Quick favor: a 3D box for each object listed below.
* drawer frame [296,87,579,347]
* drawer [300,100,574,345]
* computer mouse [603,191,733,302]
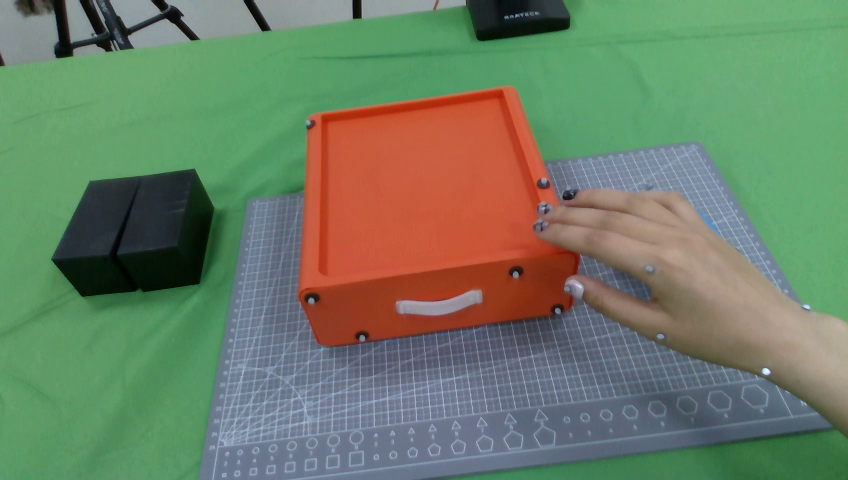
[{"bbox_3d":[0.002,-0.027,0.512,0.202,0.083,0.211,-9,46,0],"label":"drawer frame"},{"bbox_3d":[0.002,-0.025,0.511,0.194,0.074,0.209,-8,46,1],"label":"drawer"},{"bbox_3d":[0.196,-0.002,0.495,0.063,0.041,0.116,-14,43,-3],"label":"computer mouse"}]
